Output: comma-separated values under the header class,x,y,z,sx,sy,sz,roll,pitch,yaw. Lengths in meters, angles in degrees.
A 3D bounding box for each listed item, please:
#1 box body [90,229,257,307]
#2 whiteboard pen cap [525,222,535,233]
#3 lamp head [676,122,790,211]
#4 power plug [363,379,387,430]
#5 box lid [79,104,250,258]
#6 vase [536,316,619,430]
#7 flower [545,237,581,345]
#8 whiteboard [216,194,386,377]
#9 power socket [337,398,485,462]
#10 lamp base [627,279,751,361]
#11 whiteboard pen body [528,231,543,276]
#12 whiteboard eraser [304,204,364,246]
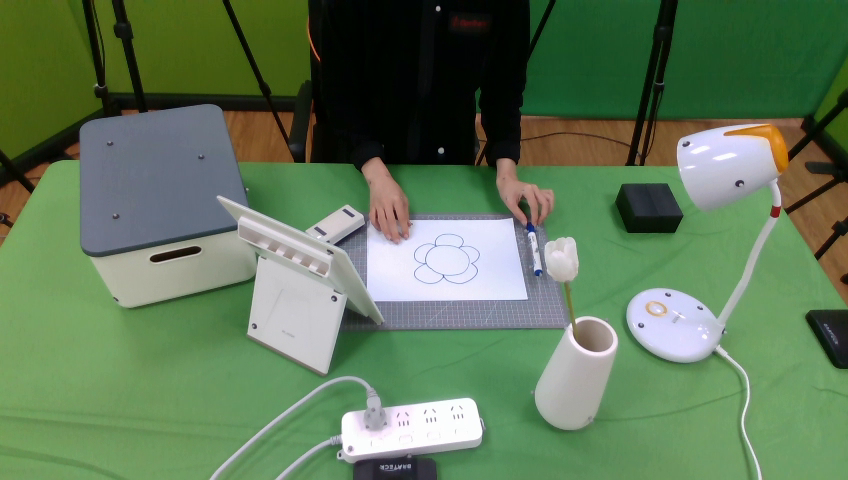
class,x,y,z,sx,sy,sz,roll,pitch,yaw
box body,-0.471,-0.070,1.131,0.254,0.161,0.361,-14,49,-17
whiteboard pen cap,0.216,-0.021,1.233,0.018,0.018,0.033,0,35,-5
lamp head,0.423,-0.104,0.819,0.122,0.113,0.112,-13,33,40
power plug,-0.071,0.252,0.911,0.035,0.053,0.072,3,40,0
box lid,-0.467,-0.120,1.075,0.264,0.015,0.369,-13,49,-17
vase,0.229,0.200,0.901,0.098,0.201,0.097,3,46,-3
flower,0.213,0.137,0.846,0.038,0.364,0.044,21,55,40
whiteboard,-0.212,0.093,0.939,0.216,0.307,0.143,24,70,17
power socket,-0.018,0.285,0.914,0.227,0.033,0.071,-4,46,-8
lamp base,0.460,0.100,1.027,0.178,0.181,0.160,27,51,17
whiteboard pen body,0.217,0.018,1.189,0.017,0.017,0.140,3,42,-2
whiteboard eraser,-0.175,-0.022,1.188,0.055,0.042,0.112,36,53,26
